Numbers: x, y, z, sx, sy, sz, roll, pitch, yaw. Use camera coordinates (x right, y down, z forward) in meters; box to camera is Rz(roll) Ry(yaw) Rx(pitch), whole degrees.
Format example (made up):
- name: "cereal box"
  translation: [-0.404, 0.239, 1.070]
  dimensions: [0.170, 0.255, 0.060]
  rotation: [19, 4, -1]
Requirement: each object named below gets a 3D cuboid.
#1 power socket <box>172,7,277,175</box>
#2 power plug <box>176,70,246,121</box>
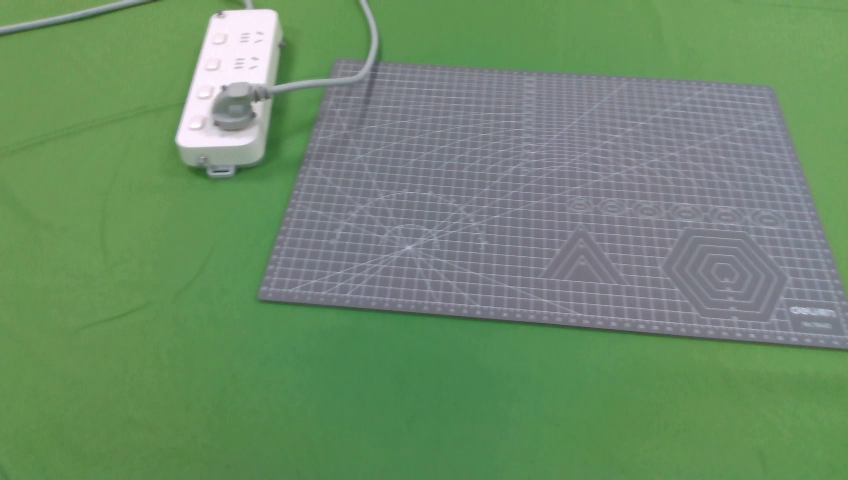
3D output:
- name: "power socket"
  translation: [-0.189, -0.156, 0.592]
  dimensions: [0.072, 0.033, 0.224]
  rotation: [-2, 53, -3]
- name: "power plug"
  translation: [-0.173, -0.131, 0.512]
  dimensions: [0.035, 0.073, 0.052]
  rotation: [19, 68, 3]
